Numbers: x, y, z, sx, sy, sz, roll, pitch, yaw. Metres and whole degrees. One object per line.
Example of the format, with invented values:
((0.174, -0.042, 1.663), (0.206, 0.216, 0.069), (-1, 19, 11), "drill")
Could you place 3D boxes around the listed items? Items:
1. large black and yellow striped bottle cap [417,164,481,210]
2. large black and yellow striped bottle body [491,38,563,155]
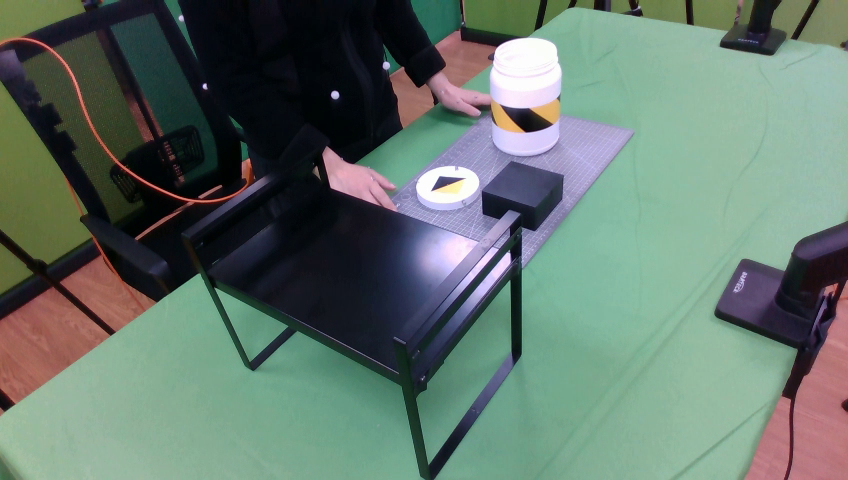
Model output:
((0.045, -0.097, 1.083), (0.115, 0.019, 0.114), (-4, 42, 4), "large black and yellow striped bottle cap")
((0.192, -0.268, 1.130), (0.131, 0.185, 0.130), (-5, 41, 5), "large black and yellow striped bottle body")
